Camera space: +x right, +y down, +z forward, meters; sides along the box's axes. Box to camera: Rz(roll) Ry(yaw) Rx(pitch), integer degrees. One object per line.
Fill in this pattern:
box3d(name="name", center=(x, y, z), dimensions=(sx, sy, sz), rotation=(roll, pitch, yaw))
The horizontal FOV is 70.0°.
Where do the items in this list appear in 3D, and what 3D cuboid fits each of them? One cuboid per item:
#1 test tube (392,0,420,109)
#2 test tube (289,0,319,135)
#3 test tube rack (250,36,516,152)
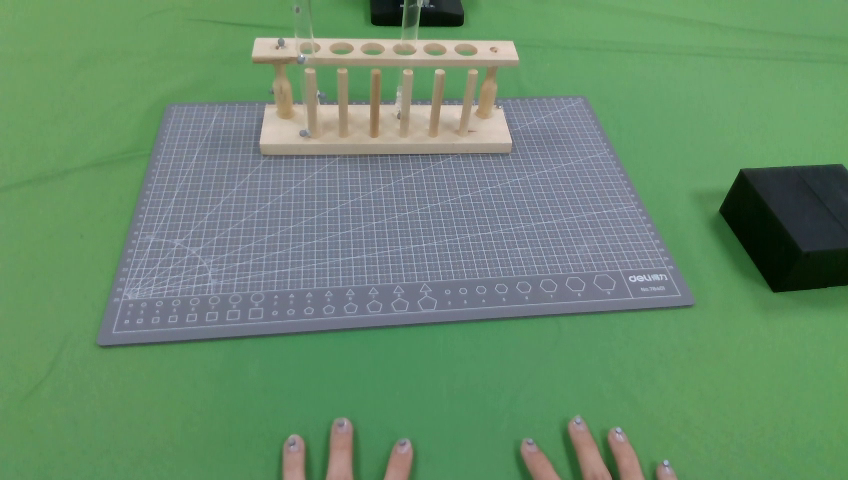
box3d(name="test tube", center=(-0.016, -0.187, 0.559), dimensions=(0.017, 0.151, 0.017), rotation=(5, 44, -4))
box3d(name="test tube", center=(-0.104, -0.156, 0.529), dimensions=(0.017, 0.152, 0.017), rotation=(2, 45, -2))
box3d(name="test tube rack", center=(-0.037, -0.139, 0.581), dimensions=(0.243, 0.086, 0.066), rotation=(-1, 47, -6))
